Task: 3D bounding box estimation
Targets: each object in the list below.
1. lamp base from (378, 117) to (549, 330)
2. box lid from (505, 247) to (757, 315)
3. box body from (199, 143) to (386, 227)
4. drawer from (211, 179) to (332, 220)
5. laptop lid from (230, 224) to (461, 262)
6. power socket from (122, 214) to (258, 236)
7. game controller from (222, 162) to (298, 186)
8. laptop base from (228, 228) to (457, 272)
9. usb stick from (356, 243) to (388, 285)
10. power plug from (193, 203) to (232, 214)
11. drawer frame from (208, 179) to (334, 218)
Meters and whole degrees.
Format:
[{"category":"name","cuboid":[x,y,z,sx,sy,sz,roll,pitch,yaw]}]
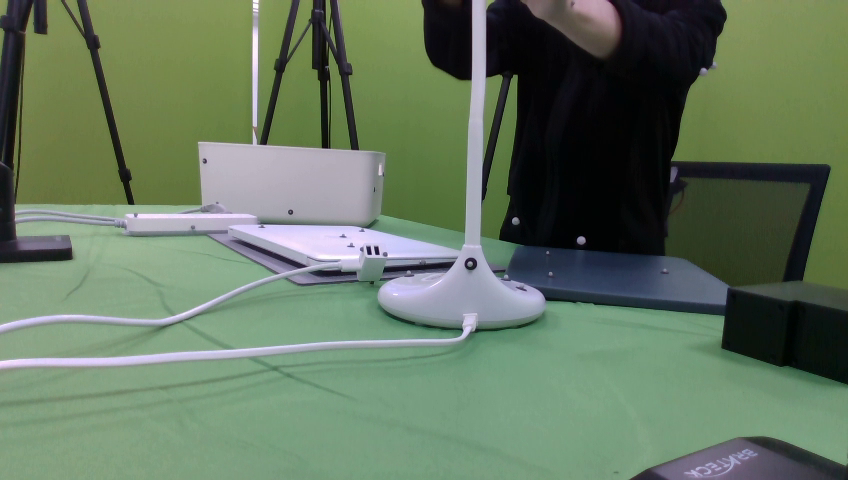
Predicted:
[{"category":"lamp base","cuboid":[0.041,-0.020,0.549,0.161,0.180,0.179,1,11,-9]},{"category":"box lid","cuboid":[0.244,0.044,0.793,0.263,0.015,0.372,4,7,11]},{"category":"box body","cuboid":[-0.276,-0.124,1.334,0.364,0.160,0.254,3,7,1]},{"category":"drawer","cuboid":[-0.328,-0.095,1.332,0.212,0.073,0.194,5,8,6]},{"category":"laptop lid","cuboid":[-0.119,0.000,0.889,0.243,0.013,0.355,1,7,-33]},{"category":"power socket","cuboid":[-0.398,-0.028,1.049,0.228,0.032,0.072,-3,8,-34]},{"category":"game controller","cuboid":[-0.357,-0.143,1.321,0.156,0.051,0.097,1,3,-16]},{"category":"laptop base","cuboid":[-0.122,0.011,0.889,0.237,0.023,0.352,2,6,-35]},{"category":"usb stick","cuboid":[-0.058,0.029,0.658,0.027,0.059,0.021,-4,53,-18]},{"category":"power plug","cuboid":[-0.393,-0.042,1.139,0.072,0.052,0.035,-14,1,31]},{"category":"drawer frame","cuboid":[-0.327,-0.093,1.328,0.213,0.082,0.202,0,5,6]}]
